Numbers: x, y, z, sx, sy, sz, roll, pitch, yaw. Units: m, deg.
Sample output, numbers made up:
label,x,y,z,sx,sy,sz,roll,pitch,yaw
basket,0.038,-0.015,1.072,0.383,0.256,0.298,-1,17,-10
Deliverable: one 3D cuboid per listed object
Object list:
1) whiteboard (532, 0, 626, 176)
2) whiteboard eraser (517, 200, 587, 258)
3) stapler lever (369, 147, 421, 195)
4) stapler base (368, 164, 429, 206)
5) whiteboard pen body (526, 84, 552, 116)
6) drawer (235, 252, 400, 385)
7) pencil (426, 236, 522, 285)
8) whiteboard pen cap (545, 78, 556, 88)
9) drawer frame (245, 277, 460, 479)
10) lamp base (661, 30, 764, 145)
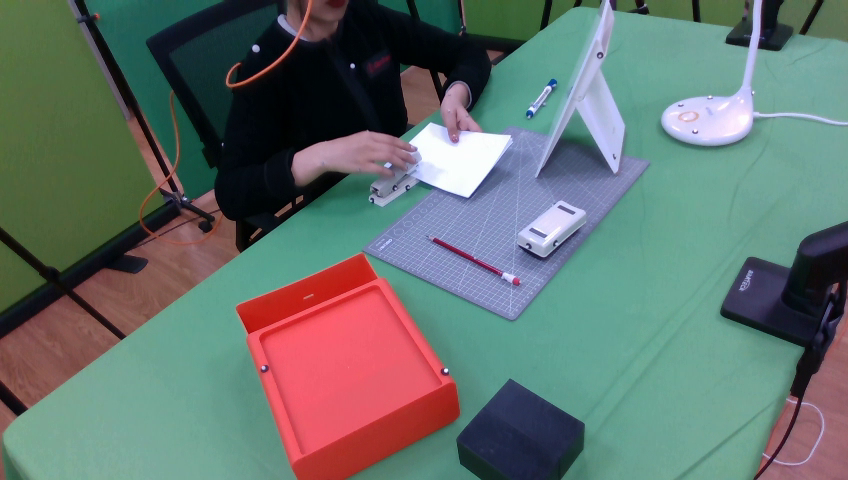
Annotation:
label,x,y,z,sx,sy,sz,roll,pitch,yaw
whiteboard,0.321,-0.258,1.050,0.144,0.306,0.217,22,45,5
whiteboard eraser,0.200,-0.016,0.943,0.113,0.042,0.055,-37,46,-29
stapler lever,-0.052,-0.128,1.101,0.026,0.040,0.118,26,54,37
stapler base,-0.047,-0.110,1.119,0.041,0.024,0.131,26,53,37
whiteboard pen body,0.251,-0.305,1.297,0.017,0.017,0.141,15,45,26
drawer,-0.125,0.132,0.804,0.195,0.073,0.210,-23,42,-17
pencil,0.072,0.028,0.941,0.192,0.012,0.012,26,52,37
whiteboard pen cap,0.280,-0.344,1.335,0.018,0.018,0.033,15,44,25
drawer frame,-0.093,0.167,0.755,0.202,0.083,0.211,-23,43,-17
lamp base,0.535,-0.287,1.096,0.179,0.181,0.159,-10,40,-4
